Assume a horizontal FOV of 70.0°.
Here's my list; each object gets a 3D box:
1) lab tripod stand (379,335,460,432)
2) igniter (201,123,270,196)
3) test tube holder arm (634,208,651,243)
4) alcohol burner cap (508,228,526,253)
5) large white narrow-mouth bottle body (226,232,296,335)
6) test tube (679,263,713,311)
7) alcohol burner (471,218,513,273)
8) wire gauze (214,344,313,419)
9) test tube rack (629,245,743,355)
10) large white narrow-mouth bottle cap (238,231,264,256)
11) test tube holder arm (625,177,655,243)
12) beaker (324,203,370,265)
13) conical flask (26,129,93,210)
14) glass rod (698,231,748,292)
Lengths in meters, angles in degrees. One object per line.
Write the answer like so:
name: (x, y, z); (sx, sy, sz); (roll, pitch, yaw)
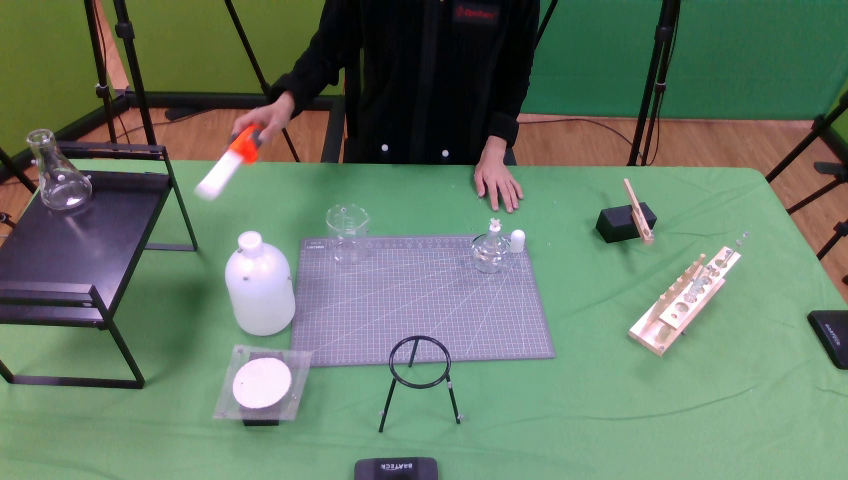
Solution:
lab tripod stand: (-0.011, 0.214, 0.911); (0.148, 0.132, 0.147); (1, 45, 0)
igniter: (-0.312, -0.145, 1.026); (0.057, 0.025, 0.275); (37, 24, -17)
test tube holder arm: (0.428, -0.030, 1.189); (0.010, 0.015, 0.087); (1, 47, -2)
alcohol burner cap: (0.185, -0.002, 1.192); (0.034, 0.048, 0.033); (3, 44, -2)
large white narrow-mouth bottle body: (-0.270, 0.065, 0.995); (0.102, 0.195, 0.101); (2, 46, -2)
test tube: (0.453, 0.092, 1.023); (0.017, 0.151, 0.017); (1, 49, -1)
alcohol burner: (0.128, 0.005, 1.132); (0.078, 0.120, 0.077); (0, 47, 0)
wire gauze: (-0.241, 0.213, 0.915); (0.121, 0.011, 0.124); (5, 46, 1)
test tube rack: (0.474, 0.095, 1.091); (0.242, 0.085, 0.066); (-34, 56, -31)
large white narrow-mouth bottle cap: (-0.266, 0.006, 0.932); (0.038, 0.024, 0.037); (2, 46, -2)
test tube holder arm: (0.433, -0.063, 1.220); (0.013, 0.015, 0.177); (1, 47, -3)
beaker: (-0.142, -0.009, 1.137); (0.084, 0.101, 0.073); (-3, 47, -7)
conical flask: (-0.575, -0.113, 0.946); (0.075, 0.122, 0.075); (2, 46, -2)
glass rod: (0.515, 0.044, 1.051); (0.008, 0.200, 0.008); (1, 55, -1)
